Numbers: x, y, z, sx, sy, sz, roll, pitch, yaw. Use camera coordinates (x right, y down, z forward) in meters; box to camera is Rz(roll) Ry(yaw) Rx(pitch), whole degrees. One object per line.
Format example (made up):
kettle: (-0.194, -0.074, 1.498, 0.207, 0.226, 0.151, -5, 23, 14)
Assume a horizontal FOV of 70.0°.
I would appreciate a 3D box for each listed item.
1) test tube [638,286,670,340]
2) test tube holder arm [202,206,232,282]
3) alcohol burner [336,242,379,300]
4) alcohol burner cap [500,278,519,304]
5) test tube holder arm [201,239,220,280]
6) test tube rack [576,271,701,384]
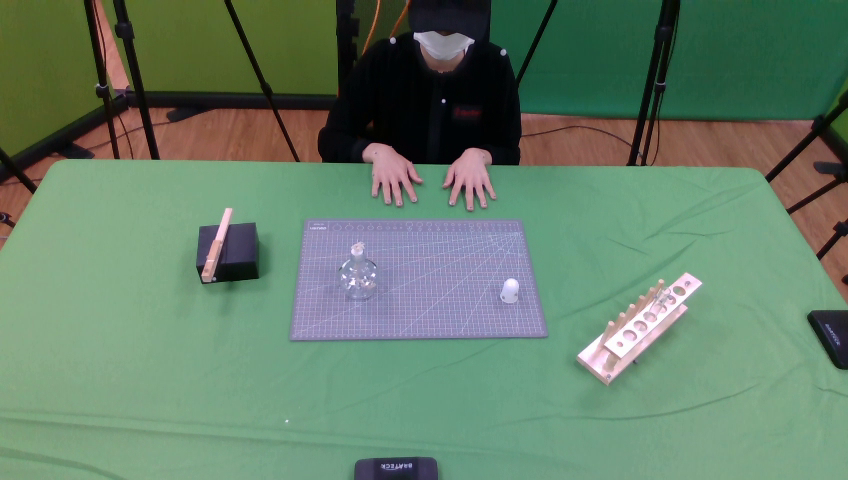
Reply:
test tube: (0.373, 0.122, 0.994, 0.017, 0.151, 0.017, 0, 51, 0)
test tube holder arm: (-0.373, 0.004, 1.099, 0.015, 0.013, 0.177, 1, 47, -1)
alcohol burner: (-0.118, 0.050, 1.072, 0.078, 0.120, 0.077, 2, 44, -1)
alcohol burner cap: (0.157, 0.091, 1.104, 0.034, 0.048, 0.033, 2, 46, -2)
test tube holder arm: (-0.374, 0.033, 1.064, 0.015, 0.010, 0.087, 1, 47, -1)
test tube rack: (0.373, 0.138, 1.047, 0.242, 0.085, 0.066, -31, 56, -29)
